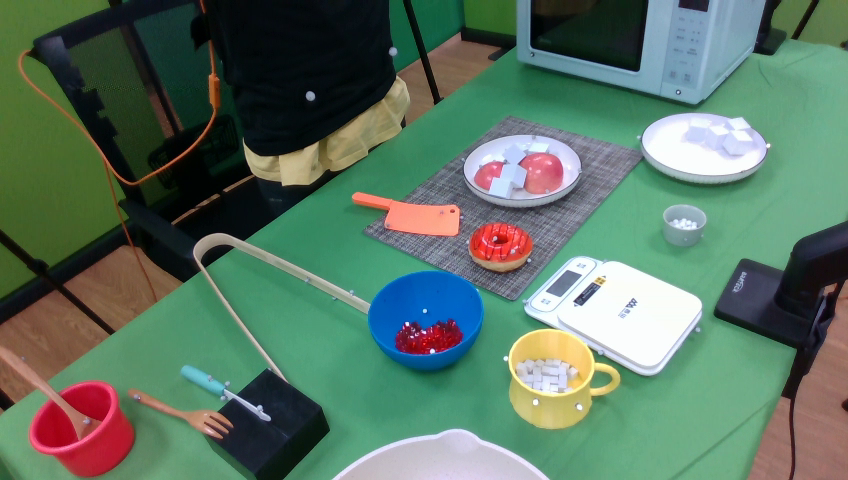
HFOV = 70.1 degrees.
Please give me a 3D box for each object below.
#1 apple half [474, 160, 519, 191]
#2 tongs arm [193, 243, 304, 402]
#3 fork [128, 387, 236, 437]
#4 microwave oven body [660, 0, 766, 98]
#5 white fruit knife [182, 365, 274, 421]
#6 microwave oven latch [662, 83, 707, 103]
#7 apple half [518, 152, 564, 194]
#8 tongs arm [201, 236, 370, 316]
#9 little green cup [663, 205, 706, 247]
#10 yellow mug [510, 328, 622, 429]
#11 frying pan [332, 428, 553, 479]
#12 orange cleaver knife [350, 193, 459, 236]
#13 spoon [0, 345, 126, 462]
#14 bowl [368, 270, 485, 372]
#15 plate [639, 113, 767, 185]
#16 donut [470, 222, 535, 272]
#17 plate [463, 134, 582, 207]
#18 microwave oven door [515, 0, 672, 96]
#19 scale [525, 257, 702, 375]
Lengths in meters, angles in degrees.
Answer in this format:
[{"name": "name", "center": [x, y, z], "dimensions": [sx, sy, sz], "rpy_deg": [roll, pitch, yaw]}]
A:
[{"name": "apple half", "center": [0.130, -0.120, 1.068], "dimensions": [0.081, 0.033, 0.081], "rpy_deg": [-3, 36, 3]}, {"name": "tongs arm", "center": [-0.267, 0.108, 0.884], "dimensions": [0.028, 0.028, 0.384], "rpy_deg": [-35, 46, -19]}, {"name": "fork", "center": [-0.305, 0.207, 0.744], "dimensions": [0.206, 0.019, 0.028], "rpy_deg": [3, 41, 36]}, {"name": "microwave oven body", "center": [0.472, -0.513, 1.317], "dimensions": [0.438, 0.261, 0.327], "rpy_deg": [26, 51, 34]}, {"name": "white fruit knife", "center": [-0.245, 0.187, 0.747], "dimensions": [0.205, 0.027, 0.016], "rpy_deg": [9, 42, 40]}, {"name": "microwave oven latch", "center": [0.517, -0.296, 1.204], "dimensions": [0.078, 0.029, 0.030], "rpy_deg": [28, 52, 35]}, {"name": "apple half", "center": [0.204, -0.124, 1.048], "dimensions": [0.075, 0.053, 0.080], "rpy_deg": [-6, 41, -3]}, {"name": "tongs arm", "center": [-0.209, 0.062, 0.925], "dimensions": [0.381, 0.026, 0.051], "rpy_deg": [23, 52, 33]}, {"name": "little green cup", "center": [0.396, -0.021, 0.926], "dimensions": [0.061, 0.039, 0.061], "rpy_deg": [-4, 40, 4]}, {"name": "yellow mug", "center": [0.168, 0.164, 0.722], "dimensions": [0.130, 0.064, 0.099], "rpy_deg": [0, 40, 8]}, {"name": "frying pan", "center": [-0.089, 0.306, 0.564], "dimensions": [0.487, 0.103, 0.306], "rpy_deg": [10, 41, 7]}, {"name": "orange cleaver knife", "center": [-0.037, -0.044, 1.028], "dimensions": [0.210, 0.012, 0.077], "rpy_deg": [10, 49, 17]}, {"name": "spoon", "center": [-0.434, 0.192, 0.720], "dimensions": [0.194, 0.021, 0.042], "rpy_deg": [47, 53, -7]}, {"name": "bowl", "center": [0.007, 0.118, 0.791], "dimensions": [0.151, 0.077, 0.150], "rpy_deg": [-5, 40, 4]}, {"name": "plate", "center": [0.489, -0.157, 1.074], "dimensions": [0.207, 0.039, 0.206], "rpy_deg": [-4, 40, 4]}, {"name": "donut", "center": [0.119, 0.009, 0.923], "dimensions": [0.099, 0.048, 0.098], "rpy_deg": [-4, 38, 4]}, {"name": "plate", "center": [0.173, -0.119, 1.070], "dimensions": [0.209, 0.038, 0.208], "rpy_deg": [-4, 40, 4]}, {"name": "microwave oven door", "center": [0.343, -0.454, 1.259], "dimensions": [0.353, 0.245, 0.039], "rpy_deg": [26, 51, 33]}, {"name": "scale", "center": [0.254, 0.091, 0.821], "dimensions": [0.199, 0.032, 0.149], "rpy_deg": [28, 51, 35]}]
